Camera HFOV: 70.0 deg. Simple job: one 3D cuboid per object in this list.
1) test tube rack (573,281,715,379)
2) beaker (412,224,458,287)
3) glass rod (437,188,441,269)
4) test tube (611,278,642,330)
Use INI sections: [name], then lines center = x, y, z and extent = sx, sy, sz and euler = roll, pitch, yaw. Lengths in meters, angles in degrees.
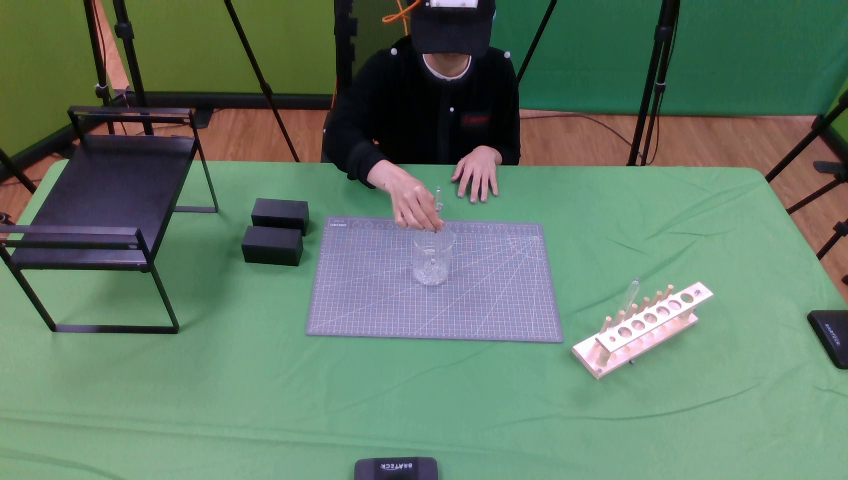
[test tube rack]
center = 0.378, 0.140, 1.038
extent = 0.242, 0.085, 0.066
euler = -22, 51, -23
[beaker]
center = 0.018, 0.030, 1.109
extent = 0.084, 0.101, 0.073
euler = -10, 48, -14
[glass rod]
center = 0.027, -0.015, 1.071
extent = 0.008, 0.201, 0.008
euler = -1, 46, 1
[test tube]
center = 0.332, 0.113, 0.999
extent = 0.017, 0.151, 0.017
euler = 1, 48, -1
